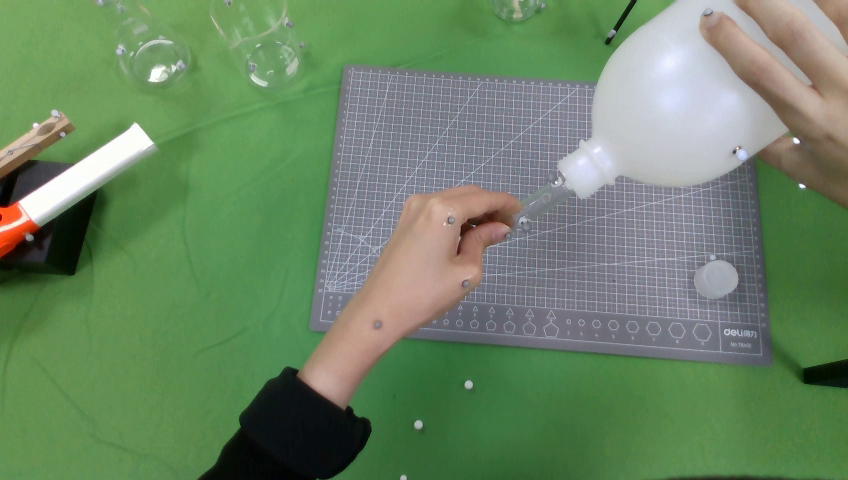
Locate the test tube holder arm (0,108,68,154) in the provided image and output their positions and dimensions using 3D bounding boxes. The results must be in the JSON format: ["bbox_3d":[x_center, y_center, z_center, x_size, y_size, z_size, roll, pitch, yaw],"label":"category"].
[{"bbox_3d":[-0.418,-0.067,0.573,0.178,0.015,0.013,-39,77,-12],"label":"test tube holder arm"}]

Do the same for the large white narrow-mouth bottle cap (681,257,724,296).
[{"bbox_3d":[0.276,0.036,0.600,0.038,0.024,0.037,0,74,0],"label":"large white narrow-mouth bottle cap"}]

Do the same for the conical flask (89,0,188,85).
[{"bbox_3d":[-0.298,-0.220,0.617,0.075,0.122,0.075,0,72,0],"label":"conical flask"}]

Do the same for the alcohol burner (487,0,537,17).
[{"bbox_3d":[0.101,-0.300,0.653,0.078,0.120,0.077,1,71,-2],"label":"alcohol burner"}]

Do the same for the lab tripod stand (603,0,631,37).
[{"bbox_3d":[0.270,-0.285,0.641,0.148,0.132,0.147,1,72,-2],"label":"lab tripod stand"}]

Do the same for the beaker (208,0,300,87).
[{"bbox_3d":[-0.173,-0.211,0.629,0.074,0.101,0.083,19,74,6],"label":"beaker"}]

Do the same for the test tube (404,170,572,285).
[{"bbox_3d":[0.040,-0.004,0.430,0.150,0.017,0.017,-34,71,32],"label":"test tube"}]

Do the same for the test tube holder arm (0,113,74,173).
[{"bbox_3d":[-0.380,-0.091,0.581,0.088,0.015,0.010,-38,77,-12],"label":"test tube holder arm"}]

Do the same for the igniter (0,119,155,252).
[{"bbox_3d":[-0.376,-0.022,0.557,0.276,0.025,0.057,-40,79,-15],"label":"igniter"}]

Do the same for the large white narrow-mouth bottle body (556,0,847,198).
[{"bbox_3d":[0.165,-0.094,0.358,0.195,0.102,0.101,-38,75,14],"label":"large white narrow-mouth bottle body"}]
